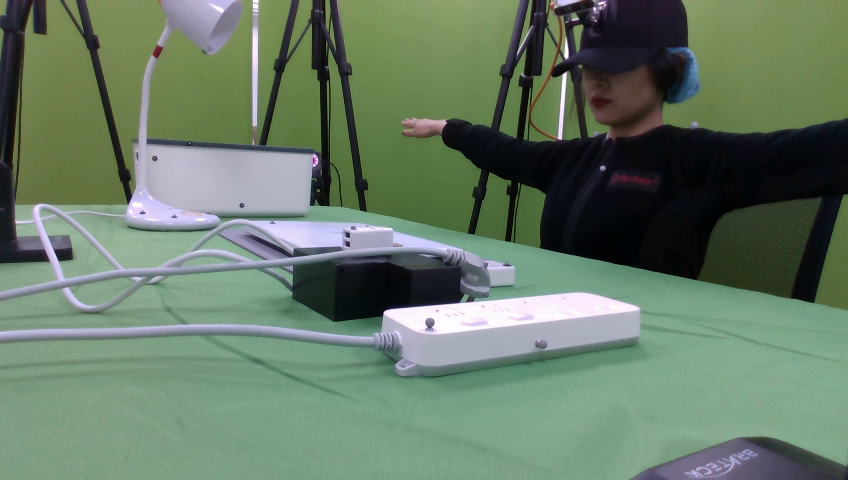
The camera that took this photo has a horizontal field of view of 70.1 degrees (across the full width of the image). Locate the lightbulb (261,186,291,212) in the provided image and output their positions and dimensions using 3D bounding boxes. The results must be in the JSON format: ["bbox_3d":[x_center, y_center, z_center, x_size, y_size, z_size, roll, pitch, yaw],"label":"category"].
[{"bbox_3d":[-0.367,-0.095,1.476,0.060,0.059,0.107,-5,-13,-42],"label":"lightbulb"}]

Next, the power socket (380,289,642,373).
[{"bbox_3d":[0.072,0.064,0.461,0.228,0.032,0.072,-2,8,-30],"label":"power socket"}]

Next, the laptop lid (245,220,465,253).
[{"bbox_3d":[-0.124,-0.009,0.945,0.243,0.013,0.355,1,7,-29],"label":"laptop lid"}]

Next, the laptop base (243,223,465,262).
[{"bbox_3d":[-0.126,0.003,0.946,0.237,0.023,0.352,2,6,-31],"label":"laptop base"}]

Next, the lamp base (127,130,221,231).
[{"bbox_3d":[-0.469,-0.112,1.108,0.179,0.180,0.160,0,7,3],"label":"lamp base"}]

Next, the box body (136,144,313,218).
[{"bbox_3d":[-0.467,-0.141,1.417,0.366,0.160,0.253,-2,8,-31],"label":"box body"}]

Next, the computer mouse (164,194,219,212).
[{"bbox_3d":[-0.532,-0.084,1.387,0.118,0.041,0.062,2,3,-31],"label":"computer mouse"}]

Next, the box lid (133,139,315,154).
[{"bbox_3d":[-0.466,-0.215,1.407,0.373,0.015,0.262,-1,8,-31],"label":"box lid"}]

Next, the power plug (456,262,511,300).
[{"bbox_3d":[0.051,0.050,0.543,0.035,0.052,0.072,7,37,-19],"label":"power plug"}]

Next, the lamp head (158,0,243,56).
[{"bbox_3d":[-0.398,-0.397,1.057,0.123,0.112,0.112,27,5,-7],"label":"lamp head"}]

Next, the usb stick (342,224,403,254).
[{"bbox_3d":[-0.047,-0.001,0.567,0.059,0.027,0.021,0,5,-32],"label":"usb stick"}]

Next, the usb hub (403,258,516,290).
[{"bbox_3d":[0.042,0.038,0.690,0.126,0.025,0.049,-2,10,-29],"label":"usb hub"}]
